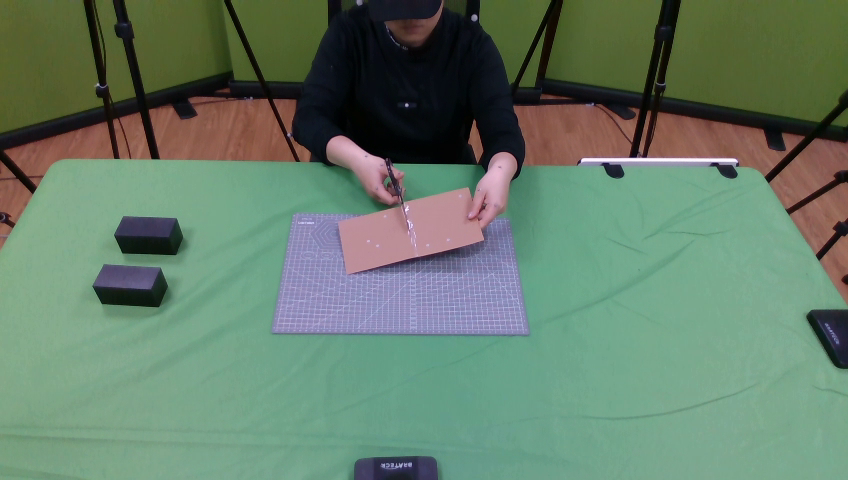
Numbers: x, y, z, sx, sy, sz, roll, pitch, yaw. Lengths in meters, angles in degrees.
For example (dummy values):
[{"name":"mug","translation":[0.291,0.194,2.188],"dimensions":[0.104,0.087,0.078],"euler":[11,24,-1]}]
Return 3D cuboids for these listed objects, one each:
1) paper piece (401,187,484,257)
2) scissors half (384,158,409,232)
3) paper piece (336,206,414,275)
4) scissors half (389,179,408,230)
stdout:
[{"name":"paper piece","translation":[0.034,-0.036,1.171],"dimensions":[0.138,0.009,0.135],"euler":[-11,61,-1]},{"name":"scissors half","translation":[-0.054,-0.090,1.210],"dimensions":[0.013,0.040,0.174],"euler":[-18,70,2]},{"name":"paper piece","translation":[-0.098,-0.002,1.173],"dimensions":[0.135,0.004,0.135],"euler":[-14,53,-1]},{"name":"scissors half","translation":[-0.051,-0.079,1.228],"dimensions":[0.013,0.040,0.174],"euler":[-15,47,-3]}]
